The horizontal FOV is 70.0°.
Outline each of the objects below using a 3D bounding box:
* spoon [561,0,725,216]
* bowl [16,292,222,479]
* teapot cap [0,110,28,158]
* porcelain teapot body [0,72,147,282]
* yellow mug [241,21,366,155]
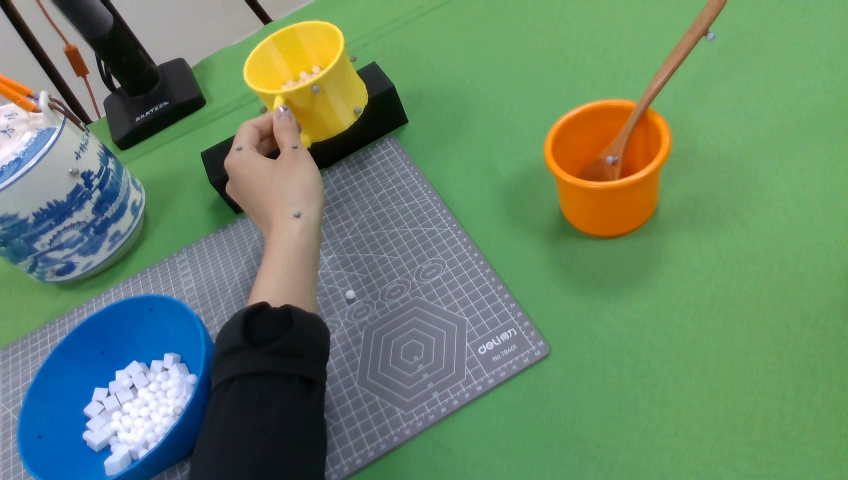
[{"bbox_3d":[0.163,-0.098,0.460,0.022,0.194,0.041,3,38,-37],"label":"spoon"},{"bbox_3d":[-0.214,0.124,0.464,0.151,0.077,0.150,-9,52,12],"label":"bowl"},{"bbox_3d":[-0.396,-0.089,0.541,0.085,0.044,0.084,-10,54,14],"label":"teapot cap"},{"bbox_3d":[-0.411,-0.056,0.572,0.205,0.228,0.143,-26,52,0],"label":"porcelain teapot body"},{"bbox_3d":[-0.116,-0.138,0.572,0.099,0.064,0.130,-2,56,17],"label":"yellow mug"}]
